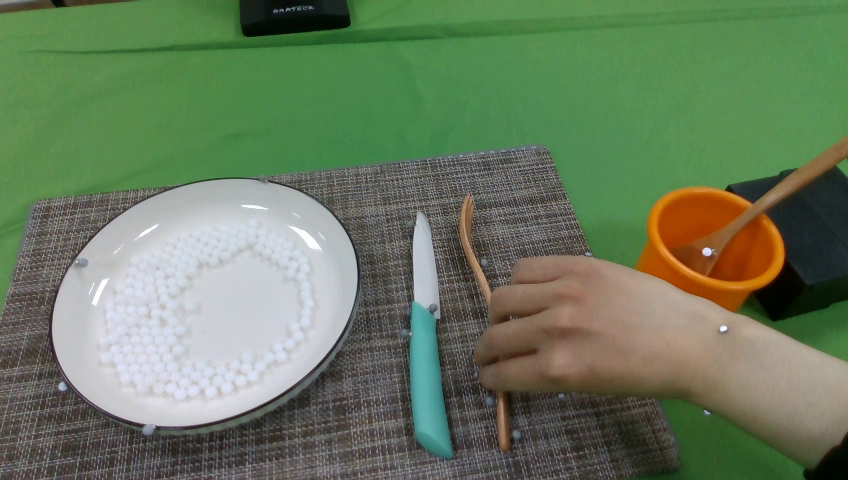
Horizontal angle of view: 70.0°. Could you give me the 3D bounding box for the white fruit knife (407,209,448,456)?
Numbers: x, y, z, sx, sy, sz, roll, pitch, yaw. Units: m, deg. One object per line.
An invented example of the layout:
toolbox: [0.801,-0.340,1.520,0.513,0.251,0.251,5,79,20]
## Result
white fruit knife: [-0.001,0.054,0.445,0.027,0.016,0.205,20,45,-25]

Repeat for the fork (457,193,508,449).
fork: [0.043,0.049,0.444,0.018,0.028,0.205,-13,55,5]

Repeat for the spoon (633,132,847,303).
spoon: [0.232,-0.019,0.429,0.022,0.194,0.041,21,34,-44]

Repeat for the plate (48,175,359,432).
plate: [-0.149,0.040,0.435,0.209,0.038,0.207,1,52,-1]
